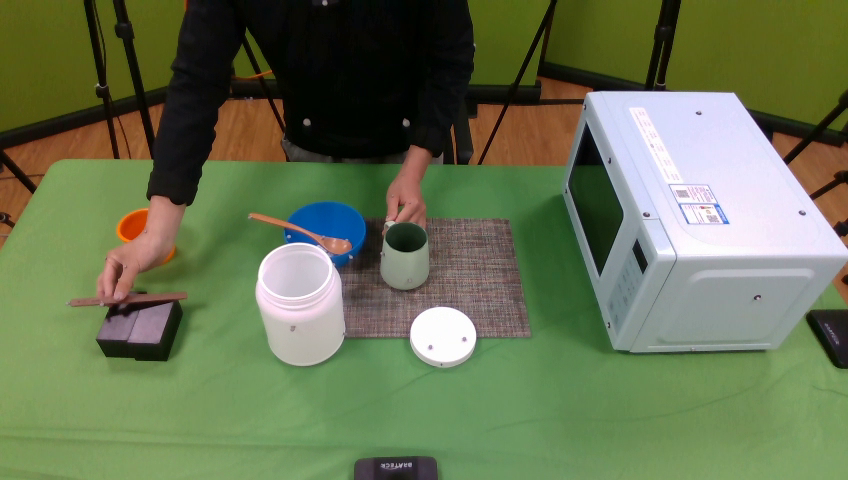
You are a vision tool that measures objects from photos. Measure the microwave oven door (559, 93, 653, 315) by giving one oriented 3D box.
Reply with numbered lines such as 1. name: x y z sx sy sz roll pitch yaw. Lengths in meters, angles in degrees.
1. microwave oven door: 0.327 -0.074 1.123 0.039 0.245 0.353 -1 46 -5

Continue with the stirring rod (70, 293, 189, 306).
1. stirring rod: -0.482 0.098 0.998 0.176 0.006 0.014 -1 50 -21

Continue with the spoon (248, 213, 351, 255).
1. spoon: -0.228 -0.014 1.113 0.194 0.022 0.041 23 42 -15

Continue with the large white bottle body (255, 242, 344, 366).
1. large white bottle body: -0.196 0.102 0.967 0.131 0.185 0.130 2 49 -2

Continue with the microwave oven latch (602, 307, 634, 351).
1. microwave oven latch: 0.332 0.153 1.044 0.030 0.029 0.078 0 45 -4

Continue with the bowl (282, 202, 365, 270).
1. bowl: -0.185 0.006 1.136 0.151 0.077 0.150 3 46 -3

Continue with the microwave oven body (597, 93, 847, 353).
1. microwave oven body: 0.475 -0.041 1.109 0.326 0.261 0.438 -1 45 -4

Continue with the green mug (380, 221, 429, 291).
1. green mug: -0.043 0.020 1.116 0.092 0.105 0.124 -20 50 -21

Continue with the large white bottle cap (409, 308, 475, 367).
1. large white bottle cap: 0.031 0.165 1.041 0.115 0.018 0.114 2 47 -2
